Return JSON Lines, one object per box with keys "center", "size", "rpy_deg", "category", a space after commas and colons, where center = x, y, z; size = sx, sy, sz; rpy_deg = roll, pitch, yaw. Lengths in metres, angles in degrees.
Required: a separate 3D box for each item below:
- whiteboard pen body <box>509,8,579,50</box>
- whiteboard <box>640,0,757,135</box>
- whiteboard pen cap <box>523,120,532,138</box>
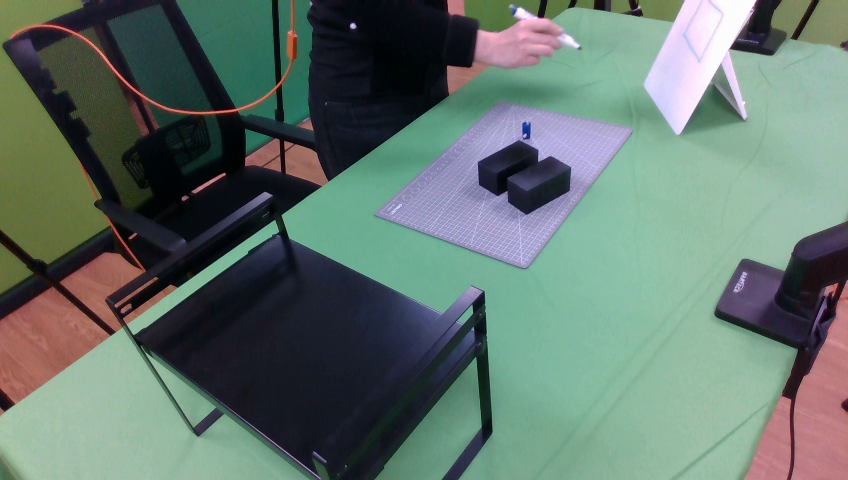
{"center": [0.210, -0.363, 1.046], "size": [0.141, 0.017, 0.017], "rpy_deg": [24, 41, -12], "category": "whiteboard pen body"}
{"center": [0.576, -0.366, 1.147], "size": [0.144, 0.305, 0.216], "rpy_deg": [10, 39, -10], "category": "whiteboard"}
{"center": [0.203, -0.216, 1.185], "size": [0.018, 0.033, 0.018], "rpy_deg": [-6, 41, 6], "category": "whiteboard pen cap"}
